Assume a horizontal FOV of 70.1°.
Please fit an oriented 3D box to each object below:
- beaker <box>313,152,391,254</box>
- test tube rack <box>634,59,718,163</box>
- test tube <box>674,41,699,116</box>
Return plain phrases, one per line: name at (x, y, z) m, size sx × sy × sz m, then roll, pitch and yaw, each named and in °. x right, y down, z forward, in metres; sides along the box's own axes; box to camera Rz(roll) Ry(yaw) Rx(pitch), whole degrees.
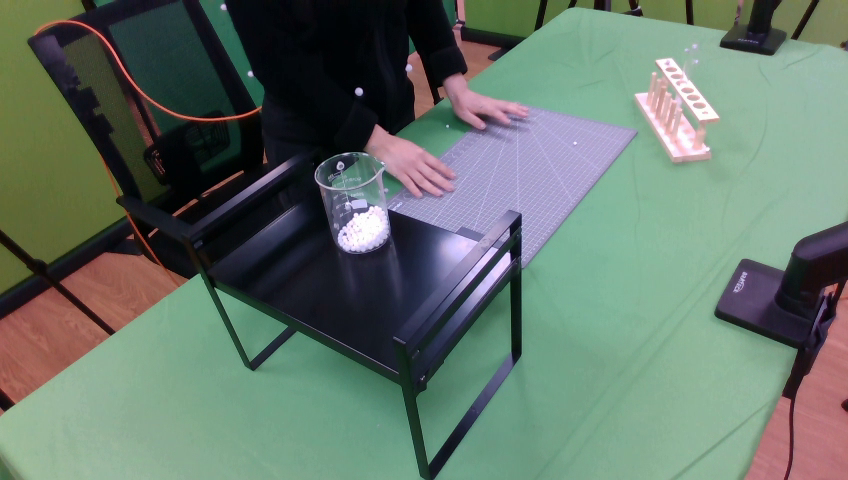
beaker at (-0.076, -0.041, 0.697) m, size 0.084 × 0.101 × 0.073 m, roll -15°, pitch 41°, yaw -10°
test tube rack at (0.470, -0.250, 1.148) m, size 0.067 × 0.085 × 0.241 m, roll -6°, pitch 40°, yaw 3°
test tube at (0.483, -0.296, 1.123) m, size 0.017 × 0.151 × 0.017 m, roll -2°, pitch 45°, yaw 2°
